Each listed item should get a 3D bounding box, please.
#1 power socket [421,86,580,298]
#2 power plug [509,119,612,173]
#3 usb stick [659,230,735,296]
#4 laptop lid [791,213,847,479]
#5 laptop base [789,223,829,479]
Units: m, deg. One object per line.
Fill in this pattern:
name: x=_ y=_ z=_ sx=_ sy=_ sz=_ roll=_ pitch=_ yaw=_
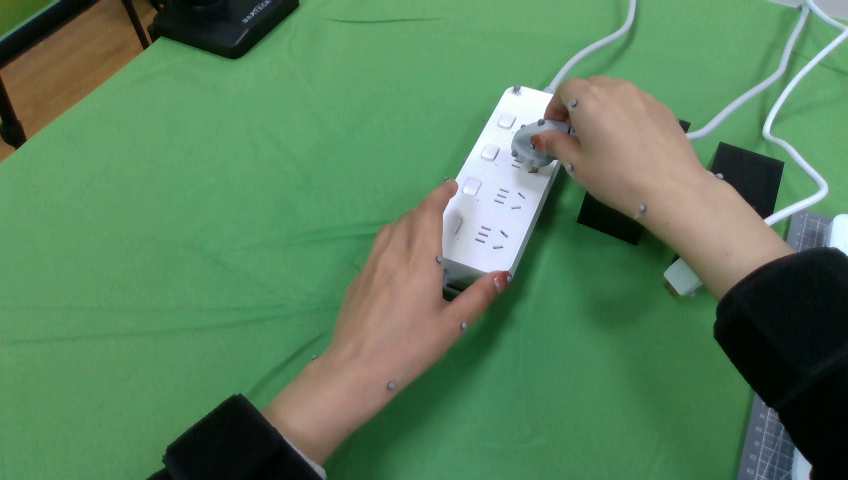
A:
power socket: x=0.068 y=-0.050 z=0.500 sx=0.072 sy=0.033 sz=0.225 roll=20 pitch=55 yaw=13
power plug: x=0.100 y=-0.064 z=0.470 sx=0.072 sy=0.053 sz=0.035 roll=32 pitch=65 yaw=12
usb stick: x=0.181 y=0.019 z=0.410 sx=0.027 sy=0.059 sz=0.021 roll=-26 pitch=68 yaw=-21
laptop lid: x=0.423 y=0.123 z=0.368 sx=0.355 sy=0.013 sz=0.240 roll=23 pitch=59 yaw=16
laptop base: x=0.425 y=0.128 z=0.379 sx=0.352 sy=0.023 sz=0.234 roll=22 pitch=59 yaw=15
